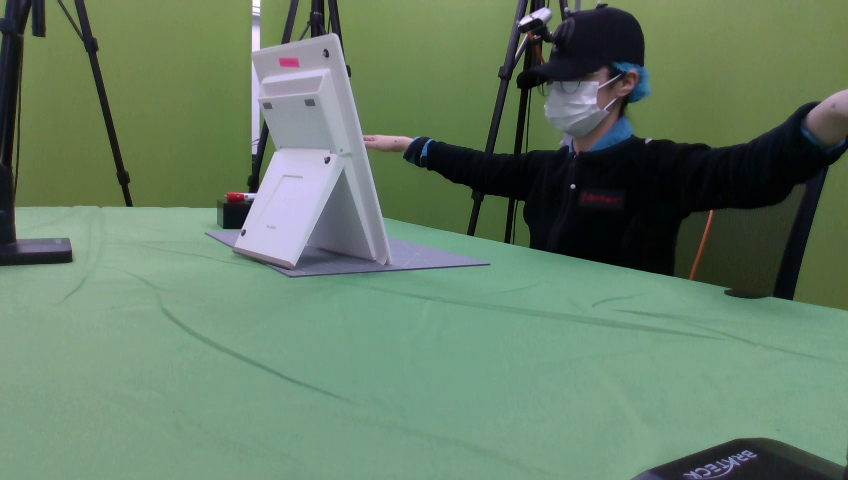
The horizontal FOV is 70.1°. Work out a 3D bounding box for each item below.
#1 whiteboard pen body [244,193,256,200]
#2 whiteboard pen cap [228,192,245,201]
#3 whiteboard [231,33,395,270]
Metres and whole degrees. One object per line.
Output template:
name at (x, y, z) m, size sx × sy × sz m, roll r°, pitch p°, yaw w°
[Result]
whiteboard pen body at (-0.327, -0.089, 1.246) m, size 0.141 × 0.017 × 0.017 m, roll -1°, pitch 8°, yaw -29°
whiteboard pen cap at (-0.377, -0.088, 1.217) m, size 0.032 × 0.017 × 0.017 m, roll 0°, pitch 7°, yaw -29°
whiteboard at (-0.193, -0.094, 0.805) m, size 0.144 × 0.305 × 0.216 m, roll -28°, pitch 25°, yaw -35°
